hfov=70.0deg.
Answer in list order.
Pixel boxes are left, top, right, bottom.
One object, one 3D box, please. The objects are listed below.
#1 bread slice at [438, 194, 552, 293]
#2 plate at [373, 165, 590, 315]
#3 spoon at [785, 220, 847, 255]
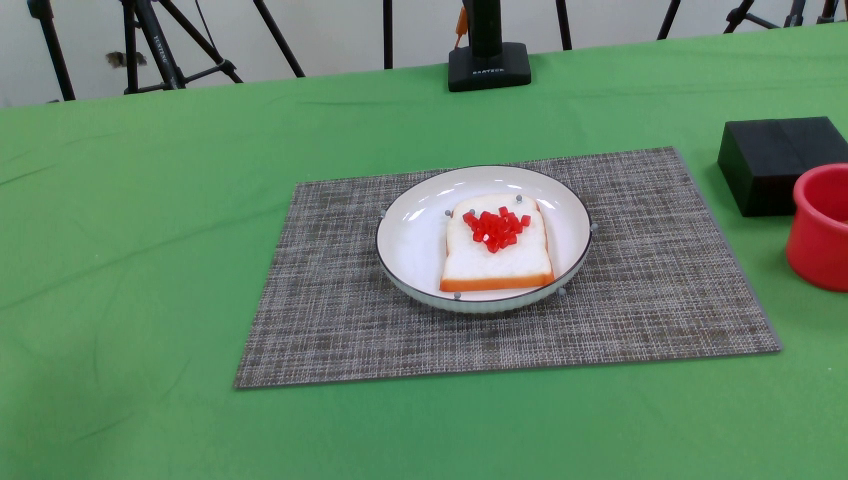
[{"bbox_3d":[0.067,-0.001,0.596,0.105,0.019,0.130,-3,42,6],"label":"bread slice"},{"bbox_3d":[0.054,-0.001,0.595,0.209,0.038,0.207,-5,41,5],"label":"plate"},{"bbox_3d":[0.390,-0.025,0.484,0.022,0.193,0.041,46,52,-8],"label":"spoon"}]
